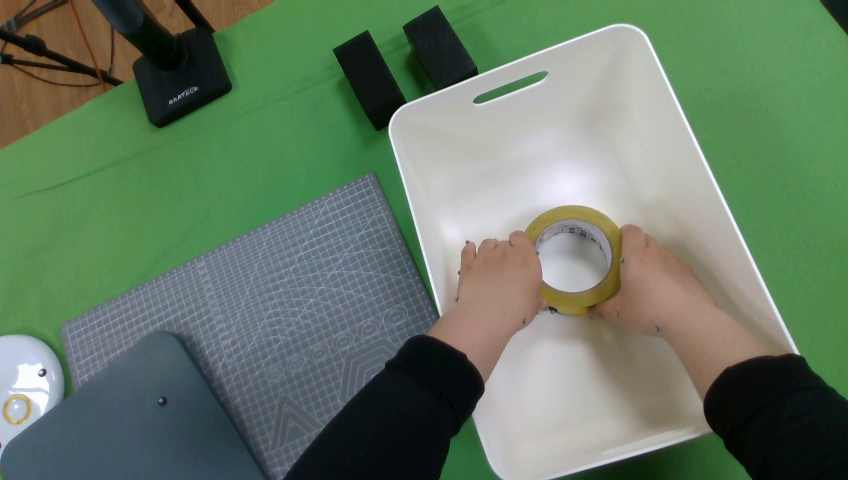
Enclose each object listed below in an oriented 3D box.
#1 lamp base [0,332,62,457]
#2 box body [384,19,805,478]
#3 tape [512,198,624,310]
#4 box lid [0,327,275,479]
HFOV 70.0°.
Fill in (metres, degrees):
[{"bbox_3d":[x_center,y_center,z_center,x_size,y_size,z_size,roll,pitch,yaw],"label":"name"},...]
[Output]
[{"bbox_3d":[-0.552,0.172,0.685,0.178,0.181,0.160,12,78,17],"label":"lamp base"},{"bbox_3d":[0.141,0.012,0.594,0.254,0.161,0.361,-20,73,6],"label":"box body"},{"bbox_3d":[0.152,0.015,0.644,0.116,0.053,0.116,-2,76,9],"label":"tape"},{"bbox_3d":[-0.301,0.306,0.681,0.263,0.015,0.369,-39,75,-2],"label":"box lid"}]
